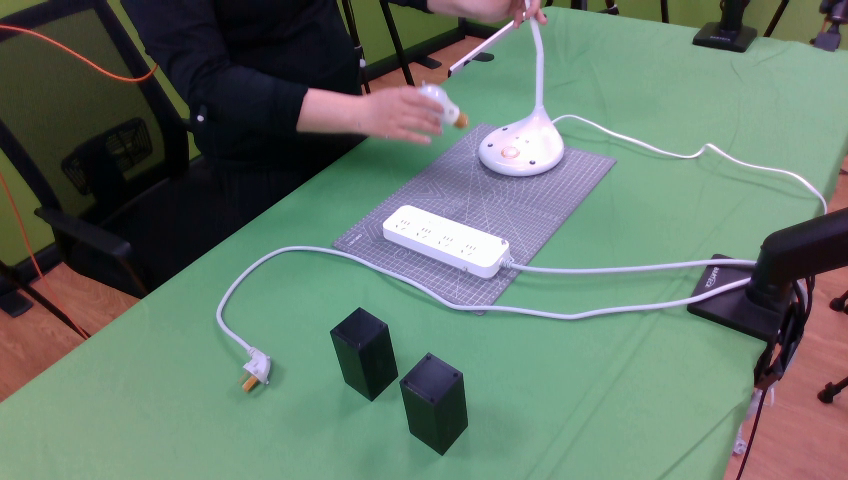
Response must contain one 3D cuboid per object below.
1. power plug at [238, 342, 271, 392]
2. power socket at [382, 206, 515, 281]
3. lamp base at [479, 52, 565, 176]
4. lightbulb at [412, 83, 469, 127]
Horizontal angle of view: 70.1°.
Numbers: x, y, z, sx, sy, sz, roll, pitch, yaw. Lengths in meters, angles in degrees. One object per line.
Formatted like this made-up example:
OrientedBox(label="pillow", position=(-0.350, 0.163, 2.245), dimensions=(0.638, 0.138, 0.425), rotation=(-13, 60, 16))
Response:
OrientedBox(label="power plug", position=(-0.230, 0.172, 0.801), dimensions=(0.072, 0.035, 0.053), rotation=(9, 51, 50))
OrientedBox(label="power socket", position=(0.031, 0.002, 0.950), dimensions=(0.225, 0.033, 0.072), rotation=(21, 49, 29))
OrientedBox(label="lamp base", position=(0.181, -0.235, 1.093), dimensions=(0.159, 0.181, 0.179), rotation=(18, 44, 27))
OrientedBox(label="lightbulb", position=(0.030, -0.220, 1.008), dimensions=(0.108, 0.059, 0.059), rotation=(23, 31, -28))
